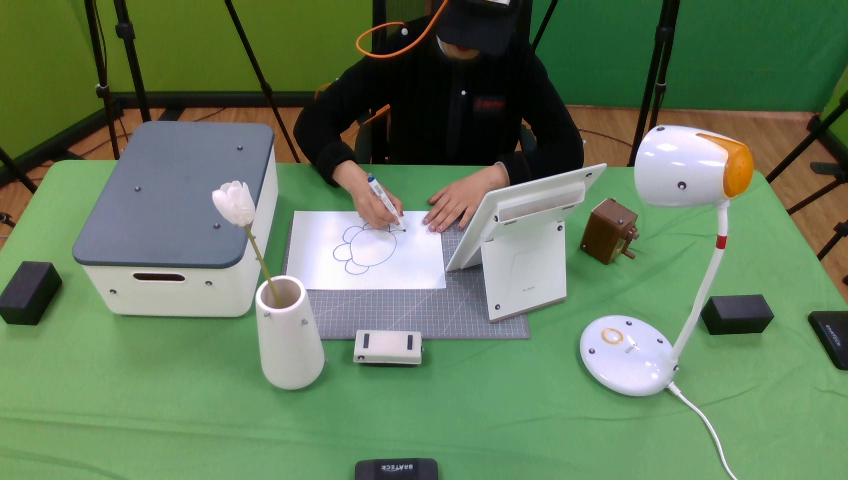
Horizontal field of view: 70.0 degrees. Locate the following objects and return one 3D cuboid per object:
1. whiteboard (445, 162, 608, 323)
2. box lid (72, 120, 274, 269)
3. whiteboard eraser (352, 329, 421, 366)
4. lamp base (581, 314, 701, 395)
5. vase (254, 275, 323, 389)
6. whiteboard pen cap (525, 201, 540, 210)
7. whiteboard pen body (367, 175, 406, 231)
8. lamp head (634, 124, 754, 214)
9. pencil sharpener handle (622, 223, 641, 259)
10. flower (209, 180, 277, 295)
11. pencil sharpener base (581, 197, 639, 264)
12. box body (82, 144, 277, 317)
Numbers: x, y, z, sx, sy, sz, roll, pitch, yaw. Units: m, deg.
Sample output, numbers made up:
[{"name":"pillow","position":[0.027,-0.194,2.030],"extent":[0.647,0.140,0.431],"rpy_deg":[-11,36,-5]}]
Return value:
[{"name":"whiteboard","position":[0.186,0.025,1.029],"extent":[0.217,0.306,0.143],"rpy_deg":[-14,68,-17]},{"name":"box lid","position":[-0.417,-0.094,1.056],"extent":[0.263,0.015,0.369],"rpy_deg":[1,47,-3]},{"name":"whiteboard eraser","position":[-0.061,0.180,1.005],"extent":[0.113,0.042,0.055],"rpy_deg":[3,48,-3]},{"name":"lamp base","position":[0.361,0.144,0.973],"extent":[0.178,0.181,0.160],"rpy_deg":[34,53,23]},{"name":"vase","position":[-0.209,0.143,0.921],"extent":[0.098,0.201,0.097],"rpy_deg":[1,46,-1]},{"name":"whiteboard pen cap","position":[0.230,-0.074,1.289],"extent":[0.033,0.018,0.018],"rpy_deg":[5,46,4]},{"name":"whiteboard pen body","position":[-0.071,-0.069,1.186],"extent":[0.017,0.141,0.017],"rpy_deg":[-24,32,16]},{"name":"lamp head","position":[0.351,-0.089,0.776],"extent":[0.112,0.113,0.122],"rpy_deg":[-30,30,-28]},{"name":"pencil sharpener handle","position":[0.397,0.002,1.146],"extent":[0.030,0.068,0.036],"rpy_deg":[37,46,27]},{"name":"flower","position":[-0.217,0.075,0.871],"extent":[0.044,0.363,0.038],"rpy_deg":[-29,36,-19]},{"name":"pencil sharpener base","position":[0.362,-0.017,1.179],"extent":[0.076,0.107,0.061],"rpy_deg":[37,54,27]},{"name":"box body","position":[-0.421,-0.041,1.108],"extent":[0.254,0.161,0.361],"rpy_deg":[2,46,-3]}]
